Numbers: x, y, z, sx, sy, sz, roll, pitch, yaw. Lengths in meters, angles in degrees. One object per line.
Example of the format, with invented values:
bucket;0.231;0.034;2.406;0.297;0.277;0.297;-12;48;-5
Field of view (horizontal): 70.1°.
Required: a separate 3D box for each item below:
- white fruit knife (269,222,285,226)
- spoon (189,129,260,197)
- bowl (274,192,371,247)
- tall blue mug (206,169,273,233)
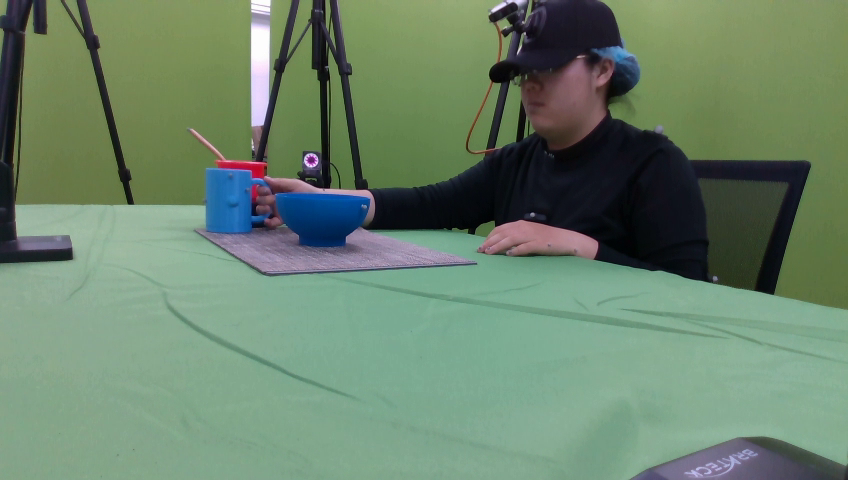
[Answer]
white fruit knife;-0.222;-0.037;1.261;0.208;0.016;0.027;-4;-18;-31
spoon;-0.389;-0.150;1.174;0.193;0.021;0.042;48;20;7
bowl;-0.161;-0.032;0.958;0.151;0.077;0.151;3;7;0
tall blue mug;-0.333;-0.071;1.074;0.077;0.108;0.108;7;8;33
